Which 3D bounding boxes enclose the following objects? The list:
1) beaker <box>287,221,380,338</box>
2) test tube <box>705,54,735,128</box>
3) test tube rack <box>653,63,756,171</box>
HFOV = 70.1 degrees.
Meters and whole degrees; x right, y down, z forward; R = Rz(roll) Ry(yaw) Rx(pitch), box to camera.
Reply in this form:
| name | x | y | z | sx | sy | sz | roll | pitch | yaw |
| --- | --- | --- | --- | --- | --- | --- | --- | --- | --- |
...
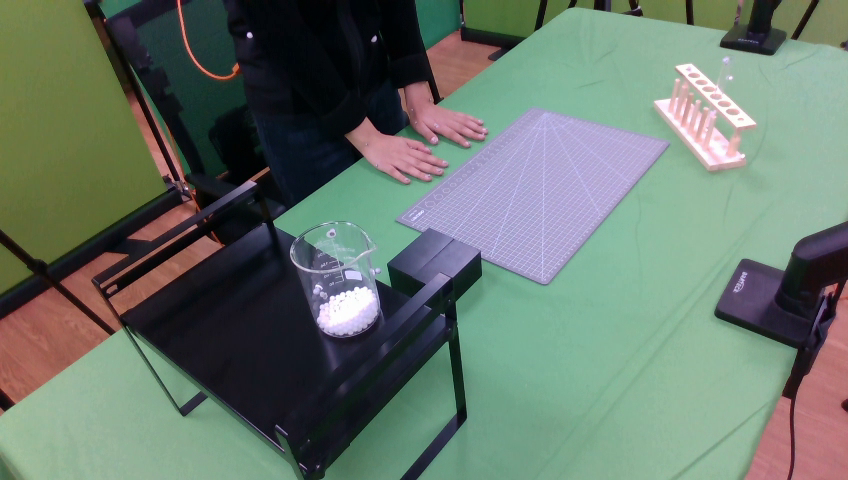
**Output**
| name | x | y | z | sx | sy | sz | roll | pitch | yaw |
| --- | --- | --- | --- | --- | --- | --- | --- | --- | --- |
| beaker | -0.083 | 0.041 | 0.602 | 0.084 | 0.101 | 0.073 | -5 | 41 | 3 |
| test tube | 0.523 | -0.260 | 1.073 | 0.017 | 0.151 | 0.017 | -3 | 47 | 4 |
| test tube rack | 0.510 | -0.233 | 1.120 | 0.067 | 0.085 | 0.241 | -9 | 41 | -1 |
